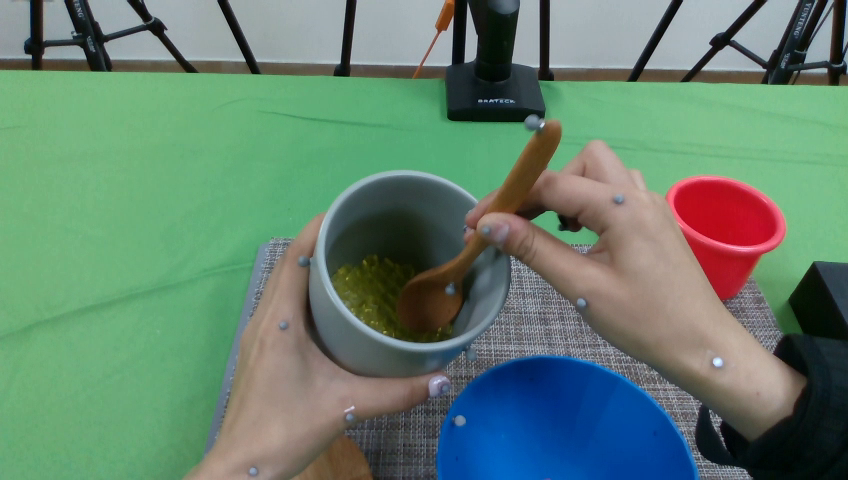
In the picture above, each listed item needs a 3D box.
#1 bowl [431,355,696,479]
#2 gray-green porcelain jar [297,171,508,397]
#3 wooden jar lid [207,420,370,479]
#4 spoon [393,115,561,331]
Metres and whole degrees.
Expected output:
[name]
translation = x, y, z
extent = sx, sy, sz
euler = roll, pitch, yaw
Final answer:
[bowl]
translation = 0.078, 0.154, 0.372
extent = 0.151, 0.077, 0.150
euler = 1, 45, -1
[gray-green porcelain jar]
translation = -0.021, 0.035, 0.369
extent = 0.106, 0.127, 0.105
euler = 7, 63, -14
[wooden jar lid]
translation = -0.088, 0.169, 0.391
extent = 0.108, 0.021, 0.107
euler = 1, 44, 0
[spoon]
translation = 0.025, 0.003, 0.330
extent = 0.042, 0.194, 0.021
euler = 18, 55, -11
